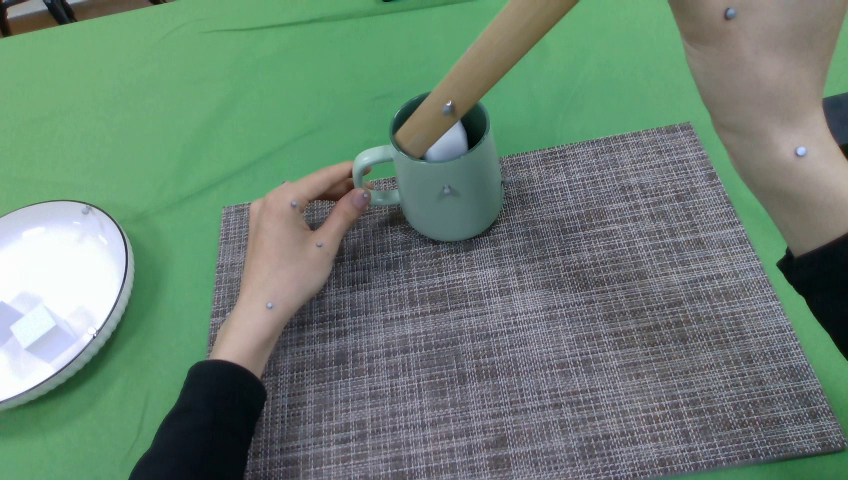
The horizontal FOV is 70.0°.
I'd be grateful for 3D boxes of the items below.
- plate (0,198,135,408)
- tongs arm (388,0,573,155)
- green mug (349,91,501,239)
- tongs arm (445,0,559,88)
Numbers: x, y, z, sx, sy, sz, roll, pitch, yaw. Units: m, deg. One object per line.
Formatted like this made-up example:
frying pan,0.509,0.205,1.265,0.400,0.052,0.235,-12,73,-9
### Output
plate,-0.355,0.055,0.538,0.209,0.038,0.207,-4,56,7
tongs arm,0.075,-0.133,0.271,0.028,0.387,0.028,46,55,-6
green mug,0.000,-0.058,0.506,0.125,0.106,0.091,-11,56,3
tongs arm,0.100,-0.166,0.295,0.026,0.384,0.050,43,59,-8
